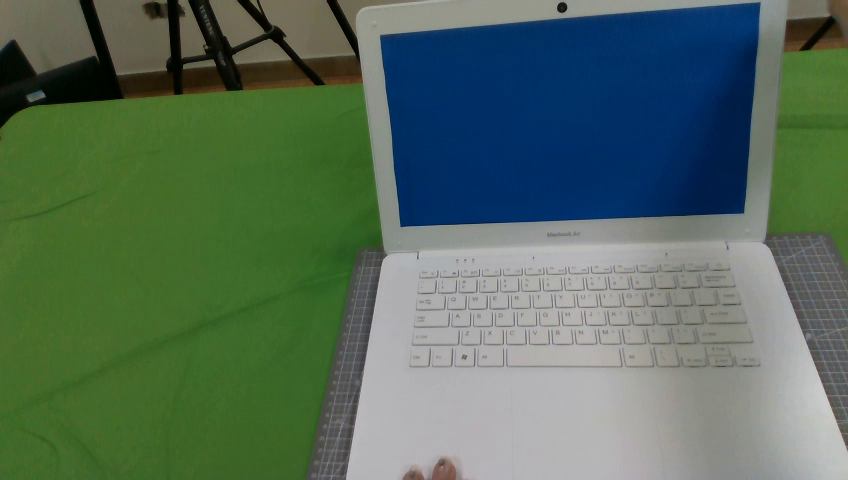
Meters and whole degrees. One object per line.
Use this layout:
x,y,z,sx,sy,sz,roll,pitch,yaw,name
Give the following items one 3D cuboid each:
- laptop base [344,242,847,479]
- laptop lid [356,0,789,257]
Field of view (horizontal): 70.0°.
0.123,0.100,0.497,0.354,0.023,0.233,-2,50,9,laptop base
0.123,-0.095,0.536,0.356,0.243,0.013,-3,19,9,laptop lid
